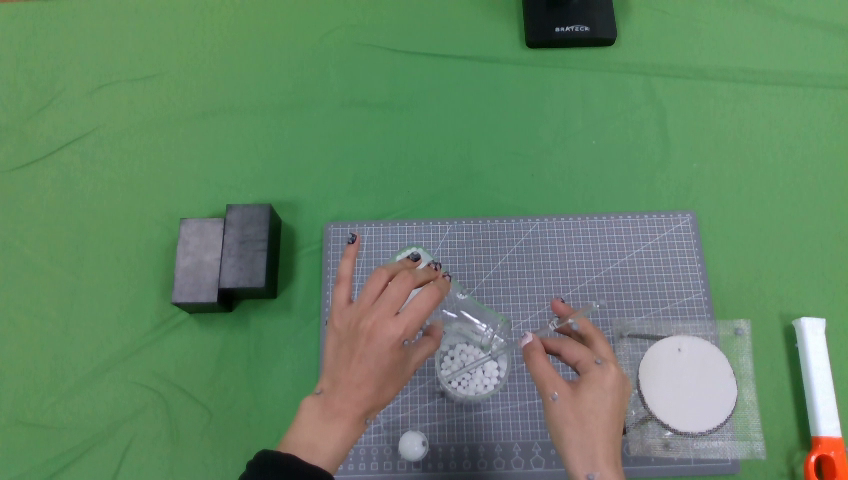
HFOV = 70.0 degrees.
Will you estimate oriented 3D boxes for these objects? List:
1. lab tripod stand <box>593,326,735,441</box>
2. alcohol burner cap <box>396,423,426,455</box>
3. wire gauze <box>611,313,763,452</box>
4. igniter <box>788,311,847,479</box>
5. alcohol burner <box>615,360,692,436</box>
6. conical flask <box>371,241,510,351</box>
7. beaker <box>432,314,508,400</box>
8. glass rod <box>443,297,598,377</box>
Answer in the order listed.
[{"bbox_3d":[0.234,0.148,0.604,0.148,0.132,0.147,0,73,1],"label":"lab tripod stand"},{"bbox_3d":[-0.014,0.209,0.636,0.034,0.048,0.033,0,73,0],"label":"alcohol burner cap"},{"bbox_3d":[0.234,0.125,0.541,0.125,0.011,0.120,1,73,2],"label":"wire gauze"},{"bbox_3d":[0.421,0.212,0.640,0.057,0.025,0.275,6,72,-9],"label":"igniter"},{"bbox_3d":[0.236,0.158,0.612,0.078,0.120,0.077,-1,72,3],"label":"alcohol burner"},{"bbox_3d":[0.018,0.055,0.550,0.121,0.076,0.075,27,73,29],"label":"conical flask"},{"bbox_3d":[0.047,0.125,0.632,0.074,0.101,0.083,21,72,7],"label":"beaker"},{"bbox_3d":[0.078,0.091,0.541,0.008,0.200,0.008,21,51,-28],"label":"glass rod"}]
